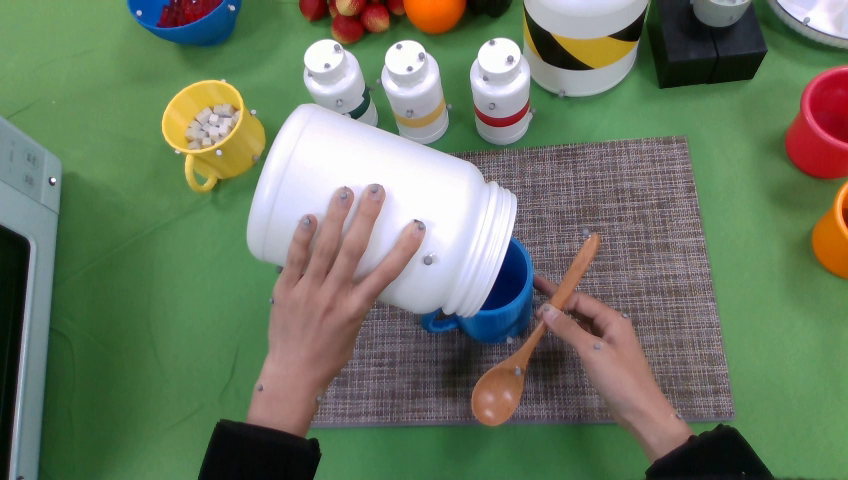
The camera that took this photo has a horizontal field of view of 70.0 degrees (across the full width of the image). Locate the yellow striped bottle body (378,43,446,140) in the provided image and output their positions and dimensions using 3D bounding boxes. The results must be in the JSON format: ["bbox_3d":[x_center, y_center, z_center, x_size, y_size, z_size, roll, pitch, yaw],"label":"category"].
[{"bbox_3d":[-0.013,-0.168,0.672,0.063,0.121,0.062,-3,68,9],"label":"yellow striped bottle body"}]

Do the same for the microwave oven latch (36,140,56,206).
[{"bbox_3d":[-0.466,-0.079,0.731,0.030,0.030,0.078,-10,68,4],"label":"microwave oven latch"}]

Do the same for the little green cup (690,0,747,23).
[{"bbox_3d":[0.317,-0.265,0.649,0.061,0.039,0.061,-2,66,5],"label":"little green cup"}]

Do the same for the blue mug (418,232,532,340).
[{"bbox_3d":[0.047,0.052,0.580,0.116,0.107,0.081,-30,66,-4],"label":"blue mug"}]

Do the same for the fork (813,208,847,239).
[{"bbox_3d":[0.436,0.004,0.520,0.028,0.019,0.205,-40,24,-7],"label":"fork"}]

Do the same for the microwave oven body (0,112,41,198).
[{"bbox_3d":[-0.596,0.077,0.586,0.326,0.262,0.438,-12,68,4],"label":"microwave oven body"}]

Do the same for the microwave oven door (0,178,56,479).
[{"bbox_3d":[-0.447,0.083,0.555,0.039,0.246,0.353,-12,67,5],"label":"microwave oven door"}]

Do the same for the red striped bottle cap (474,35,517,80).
[{"bbox_3d":[0.072,-0.184,0.608,0.044,0.018,0.044,-2,67,4],"label":"red striped bottle cap"}]

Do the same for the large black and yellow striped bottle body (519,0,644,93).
[{"bbox_3d":[0.167,-0.261,0.646,0.130,0.185,0.130,-3,68,8],"label":"large black and yellow striped bottle body"}]

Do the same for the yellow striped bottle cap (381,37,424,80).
[{"bbox_3d":[-0.022,-0.187,0.624,0.044,0.019,0.044,-1,65,3],"label":"yellow striped bottle cap"}]

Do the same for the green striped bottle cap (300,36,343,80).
[{"bbox_3d":[-0.108,-0.192,0.640,0.044,0.020,0.044,-2,68,6],"label":"green striped bottle cap"}]

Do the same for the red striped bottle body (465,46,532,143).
[{"bbox_3d":[0.081,-0.163,0.657,0.063,0.121,0.062,-6,64,13],"label":"red striped bottle body"}]

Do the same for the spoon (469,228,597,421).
[{"bbox_3d":[0.098,0.075,0.527,0.041,0.021,0.194,31,103,7],"label":"spoon"}]

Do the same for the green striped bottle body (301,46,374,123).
[{"bbox_3d":[-0.099,-0.173,0.688,0.063,0.120,0.062,-3,68,7],"label":"green striped bottle body"}]

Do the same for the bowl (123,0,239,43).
[{"bbox_3d":[-0.303,-0.315,0.797,0.151,0.077,0.150,-3,68,7],"label":"bowl"}]

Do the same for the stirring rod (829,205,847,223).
[{"bbox_3d":[0.406,0.004,0.532,0.014,0.006,0.175,-1,26,6],"label":"stirring rod"}]

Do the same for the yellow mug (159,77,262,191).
[{"bbox_3d":[-0.257,-0.121,0.721,0.100,0.064,0.130,6,70,11],"label":"yellow mug"}]

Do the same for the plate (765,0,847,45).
[{"bbox_3d":[0.487,-0.304,0.693,0.209,0.038,0.207,-3,69,8],"label":"plate"}]

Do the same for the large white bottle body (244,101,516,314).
[{"bbox_3d":[-0.032,-0.020,0.483,0.185,0.131,0.130,20,72,-5],"label":"large white bottle body"}]
